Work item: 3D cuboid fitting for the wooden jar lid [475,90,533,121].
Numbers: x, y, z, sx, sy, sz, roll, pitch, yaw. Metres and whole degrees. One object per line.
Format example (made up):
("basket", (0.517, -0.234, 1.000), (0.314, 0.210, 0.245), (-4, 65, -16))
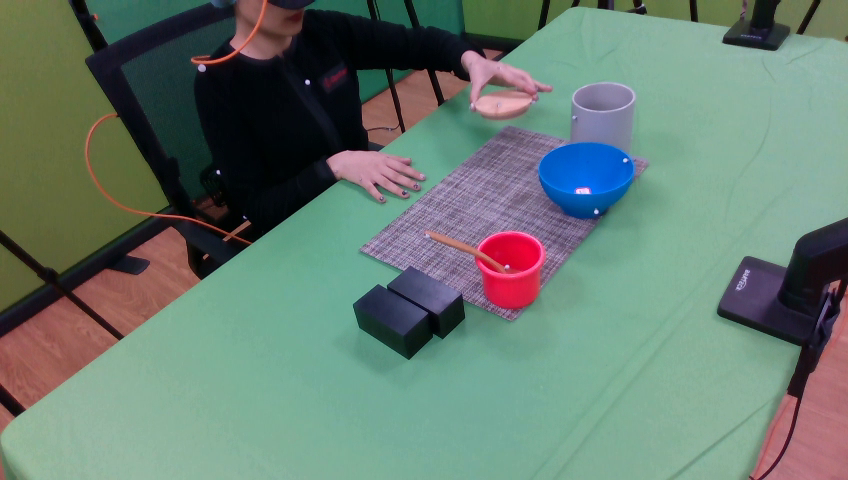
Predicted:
("wooden jar lid", (0.150, -0.251, 1.131), (0.108, 0.021, 0.108), (-7, 34, 5))

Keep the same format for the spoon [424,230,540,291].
("spoon", (0.083, 0.026, 0.836), (0.195, 0.021, 0.041), (29, 31, -24))

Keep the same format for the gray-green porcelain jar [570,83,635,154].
("gray-green porcelain jar", (0.313, -0.197, 1.069), (0.106, 0.127, 0.105), (-5, 40, 5))

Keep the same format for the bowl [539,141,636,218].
("bowl", (0.264, -0.089, 0.989), (0.151, 0.077, 0.150), (-5, 40, 5))
